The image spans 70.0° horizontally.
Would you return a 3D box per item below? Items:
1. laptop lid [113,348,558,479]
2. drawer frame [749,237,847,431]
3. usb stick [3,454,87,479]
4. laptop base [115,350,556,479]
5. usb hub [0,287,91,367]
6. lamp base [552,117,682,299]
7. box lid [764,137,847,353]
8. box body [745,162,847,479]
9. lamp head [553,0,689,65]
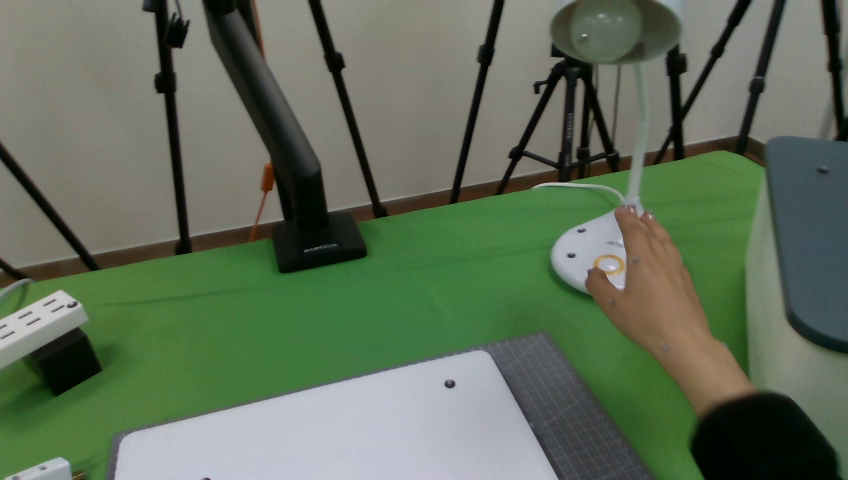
[{"bbox_3d":[-0.072,0.202,0.492,0.357,0.013,0.239,-10,35,-11],"label":"laptop lid"},{"bbox_3d":[0.434,0.092,0.583,0.201,0.083,0.212,9,32,19],"label":"drawer frame"},{"bbox_3d":[-0.321,0.202,0.517,0.021,0.027,0.059,-1,4,38],"label":"usb stick"},{"bbox_3d":[-0.073,0.211,0.500,0.355,0.023,0.233,-10,37,-13],"label":"laptop base"},{"bbox_3d":[-0.411,0.094,0.612,0.049,0.025,0.125,22,40,31],"label":"usb hub"},{"bbox_3d":[0.245,-0.048,0.739,0.160,0.181,0.178,11,33,20],"label":"lamp base"},{"bbox_3d":[0.444,-0.002,0.518,0.262,0.015,0.370,10,35,20],"label":"box lid"},{"bbox_3d":[0.452,0.060,0.569,0.253,0.162,0.362,10,34,20],"label":"box body"},{"bbox_3d":[0.177,-0.230,0.530,0.112,0.113,0.122,8,73,16],"label":"lamp head"}]
